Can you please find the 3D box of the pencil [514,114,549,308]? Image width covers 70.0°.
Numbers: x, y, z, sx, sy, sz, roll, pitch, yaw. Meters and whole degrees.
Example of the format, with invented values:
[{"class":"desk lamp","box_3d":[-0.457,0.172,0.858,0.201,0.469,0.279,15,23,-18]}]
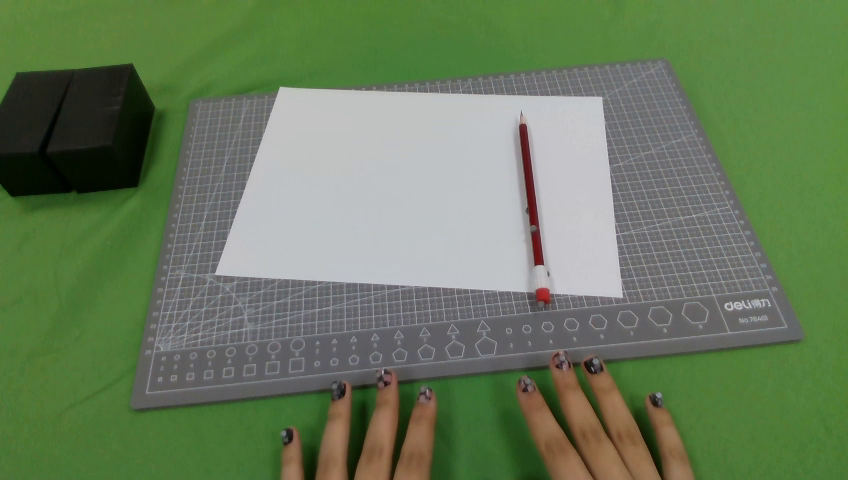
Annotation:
[{"class":"pencil","box_3d":[0.082,-0.032,0.477,0.012,0.012,0.192,-1,55,1]}]
